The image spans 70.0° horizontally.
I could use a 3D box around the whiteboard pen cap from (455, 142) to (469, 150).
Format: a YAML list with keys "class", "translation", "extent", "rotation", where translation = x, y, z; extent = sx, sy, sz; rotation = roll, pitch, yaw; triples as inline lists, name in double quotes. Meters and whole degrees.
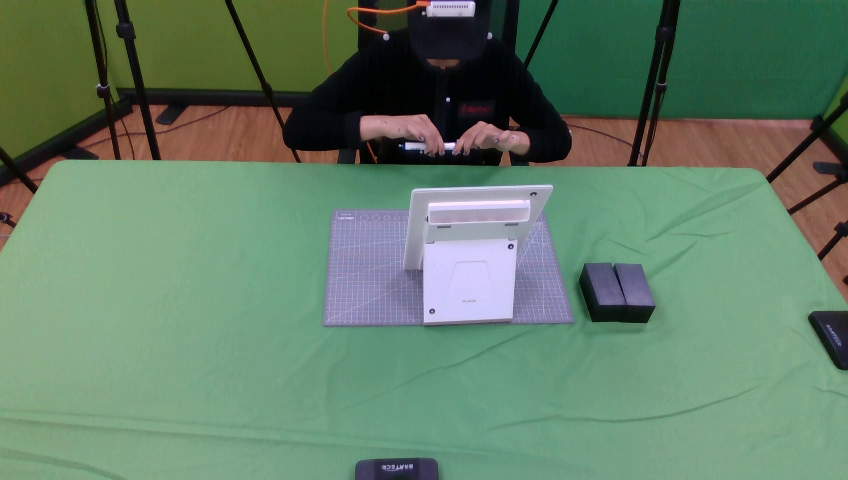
- class: "whiteboard pen cap"
  translation: [0.081, -0.205, 1.313]
  extent: [0.033, 0.018, 0.018]
  rotation: [1, 46, -6]

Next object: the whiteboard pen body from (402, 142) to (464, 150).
- class: "whiteboard pen body"
  translation: [0.022, -0.203, 1.303]
  extent: [0.141, 0.017, 0.017]
  rotation: [0, 46, -5]

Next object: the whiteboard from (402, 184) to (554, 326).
- class: "whiteboard"
  translation: [0.081, 0.044, 1.005]
  extent: [0.217, 0.306, 0.143]
  rotation: [-1, 65, -6]
